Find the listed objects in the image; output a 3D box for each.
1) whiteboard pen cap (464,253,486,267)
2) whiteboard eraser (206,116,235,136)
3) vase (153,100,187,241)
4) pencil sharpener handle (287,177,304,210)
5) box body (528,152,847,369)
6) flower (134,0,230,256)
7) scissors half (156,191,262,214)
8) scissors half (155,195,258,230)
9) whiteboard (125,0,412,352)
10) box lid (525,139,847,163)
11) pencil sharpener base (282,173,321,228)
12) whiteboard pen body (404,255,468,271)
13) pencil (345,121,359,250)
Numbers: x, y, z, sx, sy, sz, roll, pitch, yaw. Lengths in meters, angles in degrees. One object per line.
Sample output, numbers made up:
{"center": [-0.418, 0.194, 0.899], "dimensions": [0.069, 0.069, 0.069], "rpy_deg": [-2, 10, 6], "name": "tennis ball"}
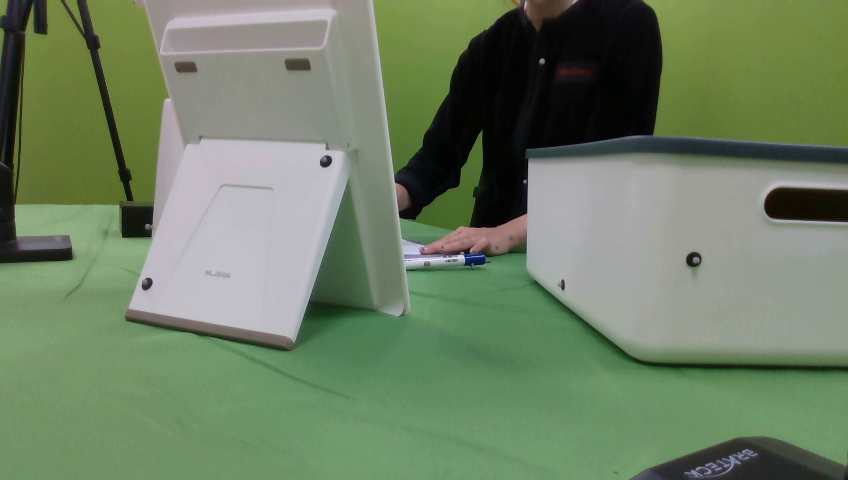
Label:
{"center": [0.066, 0.027, 0.818], "dimensions": [0.033, 0.018, 0.018], "rpy_deg": [-5, 10, -24], "name": "whiteboard pen cap"}
{"center": [-0.450, -0.252, 1.335], "dimensions": [0.056, 0.042, 0.112], "rpy_deg": [1, 7, -22], "name": "whiteboard eraser"}
{"center": [-0.278, -0.066, 0.736], "dimensions": [0.098, 0.200, 0.098], "rpy_deg": [2, 9, 0], "name": "vase"}
{"center": [-0.269, -0.096, 1.257], "dimensions": [0.036, 0.067, 0.030], "rpy_deg": [-8, 8, -27], "name": "pencil sharpener handle"}
{"center": [0.258, -0.005, 0.591], "dimensions": [0.254, 0.160, 0.363], "rpy_deg": [2, 7, -4], "name": "box body"}
{"center": [-0.282, -0.147, 0.713], "dimensions": [0.038, 0.362, 0.044], "rpy_deg": [-23, 24, -31], "name": "flower"}
{"center": [-0.371, -0.068, 1.051], "dimensions": [0.176, 0.040, 0.013], "rpy_deg": [2, 25, -24], "name": "scissors half"}
{"center": [-0.378, -0.051, 1.058], "dimensions": [0.176, 0.040, 0.012], "rpy_deg": [20, 22, -31], "name": "scissors half"}
{"center": [-0.151, -0.049, 0.472], "dimensions": [0.216, 0.305, 0.144], "rpy_deg": [6, 27, 24], "name": "whiteboard"}
{"center": [0.261, -0.078, 0.580], "dimensions": [0.264, 0.015, 0.371], "rpy_deg": [2, 7, -4], "name": "box lid"}
{"center": [-0.247, -0.080, 1.212], "dimensions": [0.061, 0.107, 0.076], "rpy_deg": [-2, 5, -28], "name": "pencil sharpener base"}
{"center": [0.013, 0.030, 0.792], "dimensions": [0.141, 0.017, 0.017], "rpy_deg": [-3, 9, -24], "name": "whiteboard pen body"}
{"center": [-0.106, -0.081, 0.903], "dimensions": [0.012, 0.194, 0.012], "rpy_deg": [-4, 0, 0], "name": "pencil"}
